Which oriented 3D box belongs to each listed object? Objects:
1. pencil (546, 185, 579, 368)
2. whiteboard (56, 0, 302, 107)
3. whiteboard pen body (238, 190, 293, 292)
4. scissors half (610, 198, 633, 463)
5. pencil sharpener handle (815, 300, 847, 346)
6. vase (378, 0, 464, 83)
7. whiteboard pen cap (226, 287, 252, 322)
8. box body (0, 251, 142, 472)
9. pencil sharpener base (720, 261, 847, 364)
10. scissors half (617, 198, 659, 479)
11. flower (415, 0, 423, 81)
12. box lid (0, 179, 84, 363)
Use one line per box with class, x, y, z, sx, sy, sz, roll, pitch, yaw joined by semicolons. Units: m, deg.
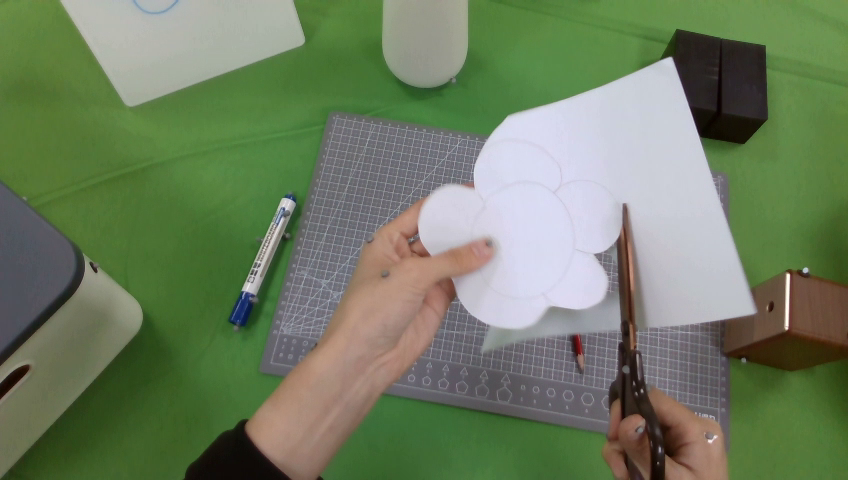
pencil;0.143;0.034;0.620;0.012;0.012;0.192;-4;71;-2
whiteboard;-0.288;-0.334;0.624;0.217;0.308;0.142;-24;52;-9
whiteboard pen body;-0.164;0.010;0.617;0.017;0.017;0.140;16;68;5
scissors half;0.124;0.059;0.376;0.013;0.040;0.176;-4;109;6
pencil sharpener handle;0.387;0.079;0.548;0.030;0.068;0.035;13;63;1
vase;-0.004;-0.254;0.626;0.098;0.201;0.097;0;68;0
whiteboard pen cap;-0.180;0.063;0.595;0.018;0.018;0.033;15;65;5
box body;-0.471;0.036;0.523;0.362;0.161;0.253;35;72;11
pencil sharpener base;0.337;0.071;0.560;0.077;0.107;0.061;13;69;1
scissors half;0.123;0.062;0.355;0.013;0.040;0.175;-5;87;1
flower;-0.007;-0.298;0.553;0.044;0.365;0.038;2;51;3
box lid;-0.471;0.007;0.454;0.370;0.015;0.262;35;72;11
